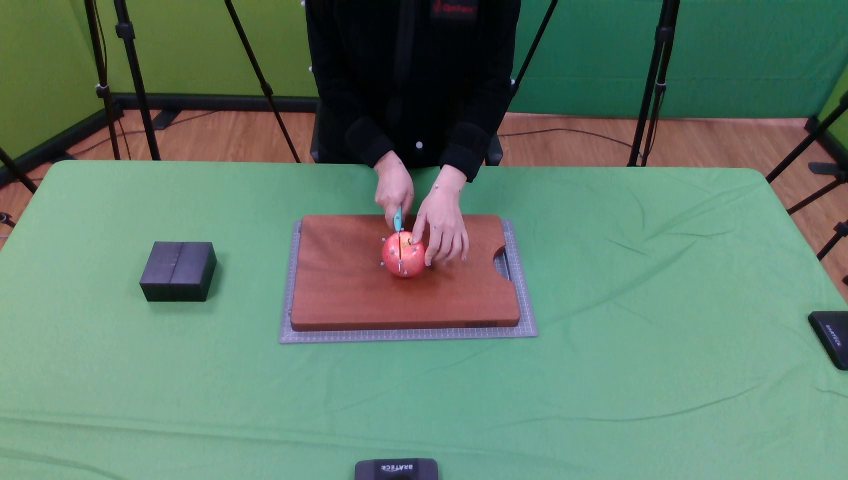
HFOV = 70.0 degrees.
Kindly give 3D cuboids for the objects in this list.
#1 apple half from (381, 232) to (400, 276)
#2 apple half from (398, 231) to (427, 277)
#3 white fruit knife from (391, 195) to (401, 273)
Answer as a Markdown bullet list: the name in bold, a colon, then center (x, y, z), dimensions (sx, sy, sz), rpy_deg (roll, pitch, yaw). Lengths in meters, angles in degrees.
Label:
- **apple half**: center (-0.062, 0.028, 1.091), dimensions (0.033, 0.081, 0.081), rpy_deg (-2, 46, -6)
- **apple half**: center (-0.022, 0.027, 1.095), dimensions (0.053, 0.075, 0.080), rpy_deg (2, 42, -10)
- **white fruit knife**: center (-0.049, -0.016, 1.116), dimensions (0.016, 0.027, 0.206), rpy_deg (-4, 45, -2)
